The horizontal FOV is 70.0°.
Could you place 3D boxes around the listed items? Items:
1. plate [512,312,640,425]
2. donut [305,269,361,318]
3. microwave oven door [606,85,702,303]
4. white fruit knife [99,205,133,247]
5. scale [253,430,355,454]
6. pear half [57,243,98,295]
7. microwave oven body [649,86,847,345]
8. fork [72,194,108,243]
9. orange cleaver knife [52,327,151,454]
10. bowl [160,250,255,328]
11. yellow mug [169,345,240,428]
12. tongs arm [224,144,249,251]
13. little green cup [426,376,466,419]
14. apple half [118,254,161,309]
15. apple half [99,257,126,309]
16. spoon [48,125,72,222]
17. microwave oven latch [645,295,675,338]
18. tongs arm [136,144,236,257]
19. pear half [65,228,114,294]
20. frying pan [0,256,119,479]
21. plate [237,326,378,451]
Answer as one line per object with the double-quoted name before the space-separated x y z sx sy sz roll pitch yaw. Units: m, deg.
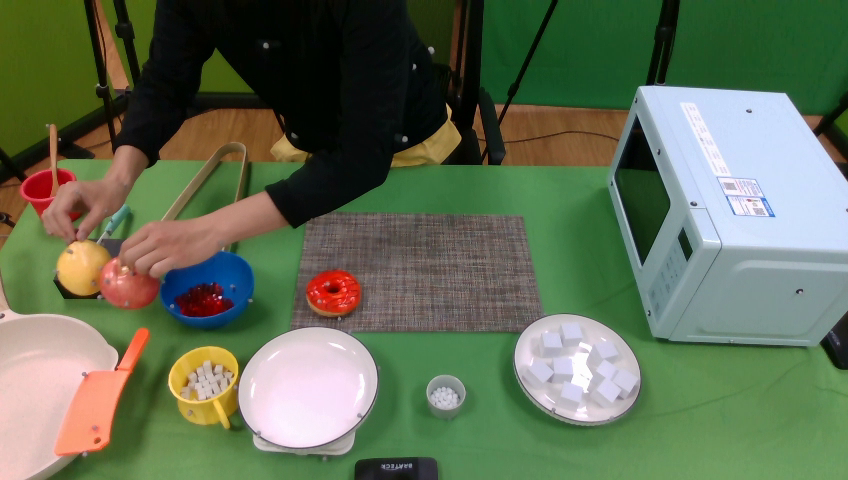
"plate" 0.246 0.213 0.999 0.208 0.039 0.206 2 46 -2
"donut" -0.160 0.094 1.075 0.099 0.048 0.098 4 45 -4
"microwave oven door" 0.422 -0.094 1.140 0.039 0.245 0.353 3 46 -1
"white fruit knife" -0.584 -0.013 1.129 0.016 0.027 0.206 -1 31 -4
"scale" -0.175 0.236 0.951 0.149 0.032 0.199 4 46 0
"pear half" -0.526 0.048 0.907 0.070 0.088 0.031 17 33 9
"microwave oven body" 0.567 -0.053 1.118 0.326 0.261 0.439 2 45 -1
"fork" -0.634 -0.035 1.158 0.028 0.019 0.206 -8 31 -8
"orange cleaver knife" -0.462 0.212 0.879 0.077 0.012 0.210 7 45 -2
"bowl" -0.362 0.098 1.040 0.151 0.077 0.150 2 45 -2
"yellow mug" -0.322 0.230 0.922 0.100 0.064 0.130 -24 53 -25
"tongs arm" -0.396 -0.073 1.232 0.051 0.026 0.382 -1 44 -1
"little green cup" 0.033 0.248 0.950 0.061 0.039 0.061 2 46 -2
"apple half" -0.426 0.063 0.912 0.053 0.075 0.080 -8 41 -17
"apple half" -0.463 0.069 0.900 0.033 0.081 0.080 -7 47 -18
"spoon" -0.718 -0.131 1.189 0.041 0.021 0.193 -3 90 -7
"microwave oven latch" 0.411 0.134 1.061 0.030 0.029 0.078 3 45 0
"tongs arm" -0.483 -0.079 1.233 0.028 0.028 0.385 7 44 12
"pear half" -0.511 0.023 0.929 0.076 0.110 0.056 18 34 10
"frying pan" -0.647 0.164 0.936 0.307 0.103 0.485 -19 58 -22
"plate" -0.174 0.224 0.917 0.209 0.038 0.208 2 46 -2
